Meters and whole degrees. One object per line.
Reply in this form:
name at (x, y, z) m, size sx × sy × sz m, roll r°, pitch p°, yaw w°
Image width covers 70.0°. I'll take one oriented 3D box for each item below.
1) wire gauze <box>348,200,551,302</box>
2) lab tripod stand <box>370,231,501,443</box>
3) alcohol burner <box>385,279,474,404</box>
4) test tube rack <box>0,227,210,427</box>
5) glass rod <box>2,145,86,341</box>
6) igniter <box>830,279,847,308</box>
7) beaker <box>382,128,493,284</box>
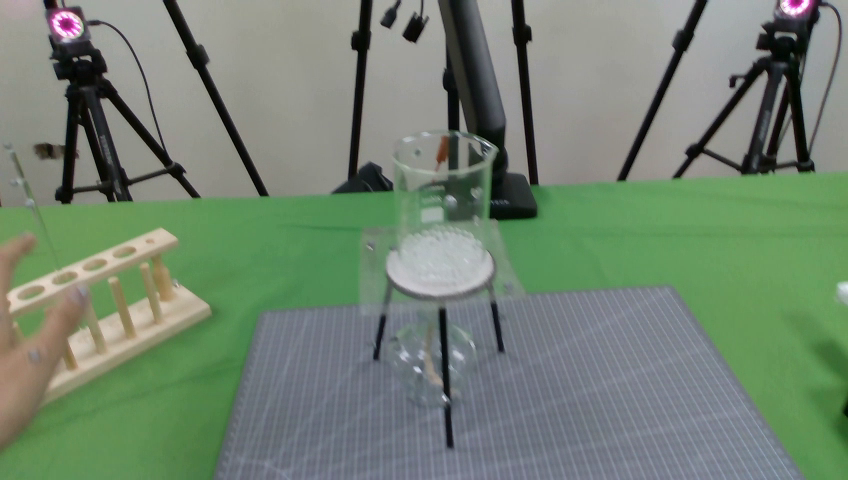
wire gauze at (0.016, 0.006, 0.468) m, size 0.125 × 0.011 × 0.120 m, roll -11°, pitch 31°, yaw -23°
lab tripod stand at (0.014, 0.073, 0.515) m, size 0.148 × 0.132 × 0.147 m, roll 0°, pitch 33°, yaw 0°
alcohol burner at (0.005, 0.082, 0.520) m, size 0.078 × 0.120 × 0.077 m, roll 0°, pitch 32°, yaw 0°
test tube rack at (-0.335, 0.081, 0.569) m, size 0.066 × 0.086 × 0.242 m, roll 25°, pitch 41°, yaw 35°
glass rod at (-0.348, 0.010, 0.557) m, size 0.008 × 0.201 × 0.008 m, roll -5°, pitch 25°, yaw 2°
igniter at (0.413, 0.108, 0.456) m, size 0.057 × 0.025 × 0.274 m, roll -5°, pitch 29°, yaw -4°
beaker at (0.012, -0.025, 0.455) m, size 0.084 × 0.101 × 0.073 m, roll -15°, pitch 36°, yaw -21°
